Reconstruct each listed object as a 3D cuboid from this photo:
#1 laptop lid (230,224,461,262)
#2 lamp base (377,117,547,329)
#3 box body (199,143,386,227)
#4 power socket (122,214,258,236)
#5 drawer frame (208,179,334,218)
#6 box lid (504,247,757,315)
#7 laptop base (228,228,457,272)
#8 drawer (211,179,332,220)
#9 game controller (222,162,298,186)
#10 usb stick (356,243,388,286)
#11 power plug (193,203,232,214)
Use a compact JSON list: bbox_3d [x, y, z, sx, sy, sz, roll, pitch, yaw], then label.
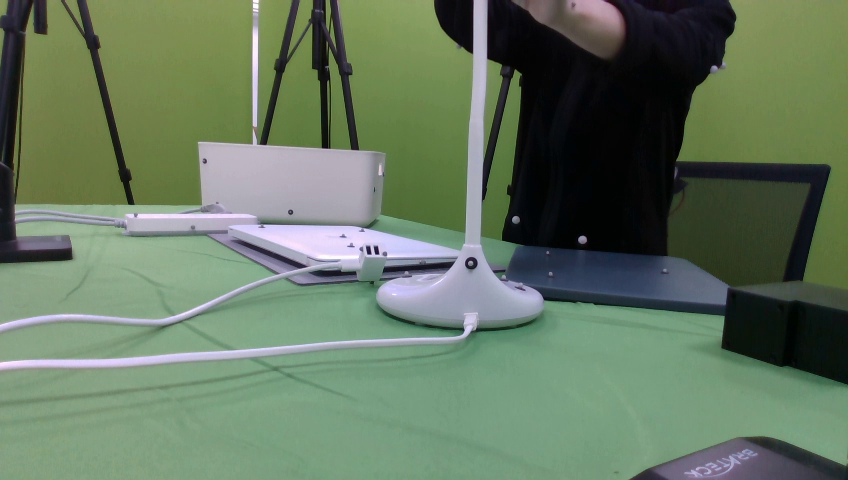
[{"bbox_3d":[-0.120,0.000,0.889,0.243,0.013,0.355,1,7,-33],"label":"laptop lid"},{"bbox_3d":[0.041,-0.019,0.552,0.161,0.180,0.179,1,10,-10],"label":"lamp base"},{"bbox_3d":[-0.276,-0.124,1.335,0.364,0.160,0.254,3,7,1],"label":"box body"},{"bbox_3d":[-0.399,-0.028,1.049,0.228,0.032,0.072,-3,8,-34],"label":"power socket"},{"bbox_3d":[-0.327,-0.093,1.328,0.213,0.082,0.202,0,5,6],"label":"drawer frame"},{"bbox_3d":[0.244,0.044,0.793,0.263,0.015,0.372,4,7,11],"label":"box lid"},{"bbox_3d":[-0.122,0.011,0.889,0.237,0.023,0.352,2,6,-35],"label":"laptop base"},{"bbox_3d":[-0.328,-0.095,1.332,0.212,0.073,0.194,5,8,6],"label":"drawer"},{"bbox_3d":[-0.357,-0.143,1.322,0.156,0.051,0.097,1,2,-16],"label":"game controller"},{"bbox_3d":[-0.058,0.029,0.658,0.027,0.059,0.021,-5,52,-18],"label":"usb stick"},{"bbox_3d":[-0.394,-0.042,1.139,0.072,0.052,0.035,-14,1,31],"label":"power plug"}]
